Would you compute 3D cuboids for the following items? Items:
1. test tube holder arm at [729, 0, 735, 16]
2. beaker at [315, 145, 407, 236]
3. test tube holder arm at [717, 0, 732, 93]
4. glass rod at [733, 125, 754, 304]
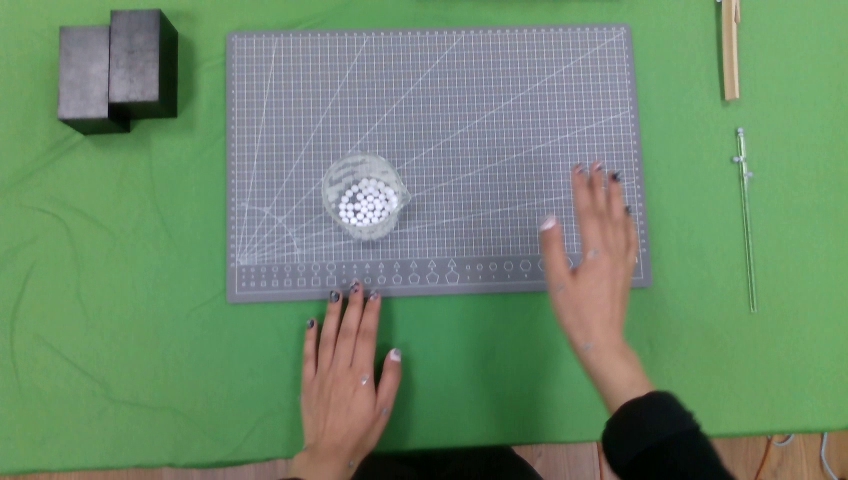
[{"bbox_3d":[0.347,-0.297,0.691,0.010,0.015,0.087,8,82,-31],"label":"test tube holder arm"},{"bbox_3d":[-0.059,-0.044,0.601,0.084,0.100,0.074,7,83,-2],"label":"beaker"},{"bbox_3d":[0.339,-0.253,0.683,0.013,0.015,0.178,8,82,-31],"label":"test tube holder arm"},{"bbox_3d":[0.349,-0.029,0.664,0.008,0.008,0.199,-1,83,-3],"label":"glass rod"}]
